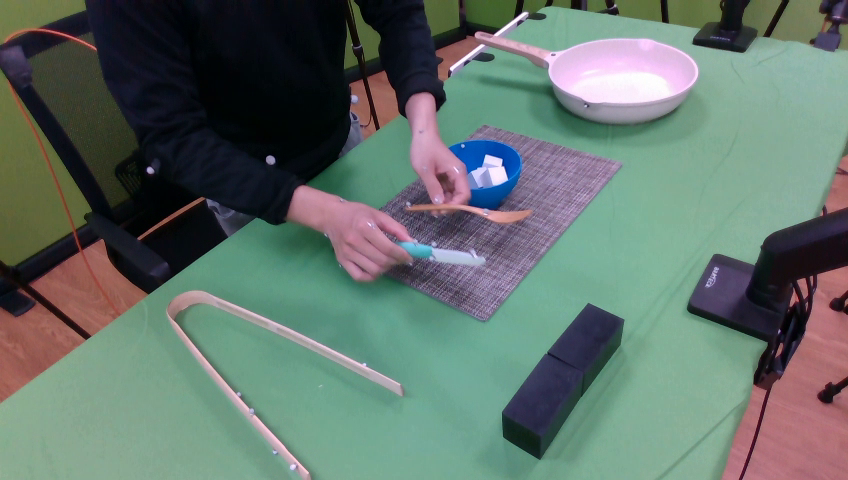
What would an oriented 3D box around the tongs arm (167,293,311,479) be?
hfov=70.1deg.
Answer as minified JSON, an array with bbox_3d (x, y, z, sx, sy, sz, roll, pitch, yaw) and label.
[{"bbox_3d":[-0.245,0.176,0.787,0.381,0.026,0.051,29,51,36],"label":"tongs arm"}]

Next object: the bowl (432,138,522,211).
[{"bbox_3d":[0.091,-0.100,1.021,0.151,0.077,0.150,-4,41,4],"label":"bowl"}]

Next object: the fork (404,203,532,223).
[{"bbox_3d":[0.052,-0.039,0.815,0.205,0.019,0.028,9,31,37],"label":"fork"}]

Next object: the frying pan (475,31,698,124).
[{"bbox_3d":[0.320,-0.371,1.290,0.485,0.103,0.307,28,50,23],"label":"frying pan"}]

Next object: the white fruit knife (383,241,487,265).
[{"bbox_3d":[0.009,0.017,0.769,0.205,0.027,0.016,5,45,51],"label":"white fruit knife"}]

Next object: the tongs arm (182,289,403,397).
[{"bbox_3d":[-0.192,0.135,0.834,0.385,0.028,0.028,18,49,26],"label":"tongs arm"}]
